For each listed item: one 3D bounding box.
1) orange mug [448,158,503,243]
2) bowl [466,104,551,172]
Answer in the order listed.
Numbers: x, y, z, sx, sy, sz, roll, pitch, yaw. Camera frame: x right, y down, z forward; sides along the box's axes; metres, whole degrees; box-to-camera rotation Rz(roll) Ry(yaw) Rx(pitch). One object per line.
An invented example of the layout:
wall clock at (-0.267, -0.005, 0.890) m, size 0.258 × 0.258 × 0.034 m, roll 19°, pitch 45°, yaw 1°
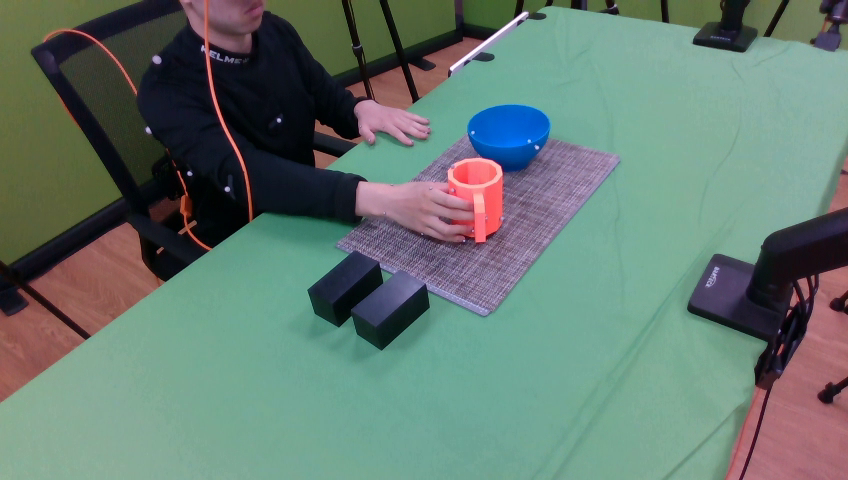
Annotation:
orange mug at (0.083, -0.057, 0.941) m, size 0.083 × 0.101 × 0.125 m, roll -5°, pitch 34°, yaw 1°
bowl at (0.155, -0.177, 1.105) m, size 0.151 × 0.077 × 0.150 m, roll -4°, pitch 40°, yaw 4°
